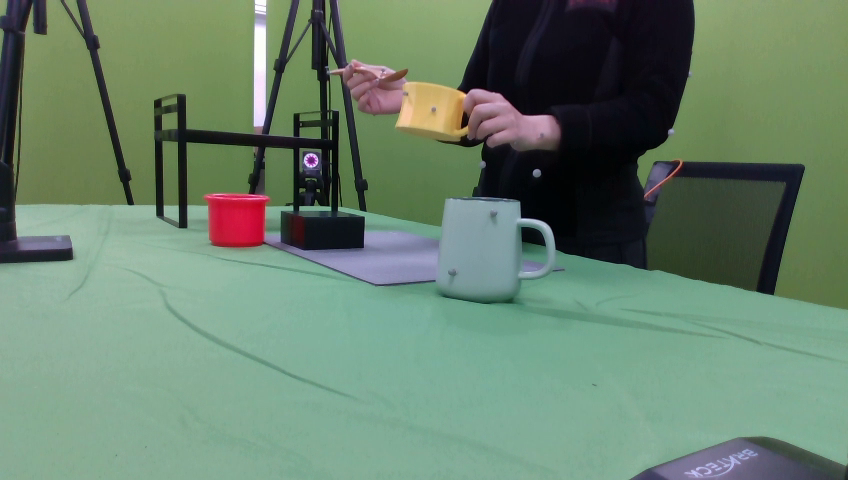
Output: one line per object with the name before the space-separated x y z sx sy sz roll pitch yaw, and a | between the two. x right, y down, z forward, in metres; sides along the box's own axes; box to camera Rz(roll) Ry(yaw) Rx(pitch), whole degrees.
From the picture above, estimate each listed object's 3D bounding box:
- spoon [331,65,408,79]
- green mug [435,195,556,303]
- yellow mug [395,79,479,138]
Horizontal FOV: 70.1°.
spoon | -0.095 -0.278 0.987 0.042 0.021 0.192 -23 30 -37
green mug | 0.074 0.009 0.624 0.125 0.105 0.093 5 7 23
yellow mug | 0.024 -0.190 0.884 0.130 0.064 0.100 13 4 34
